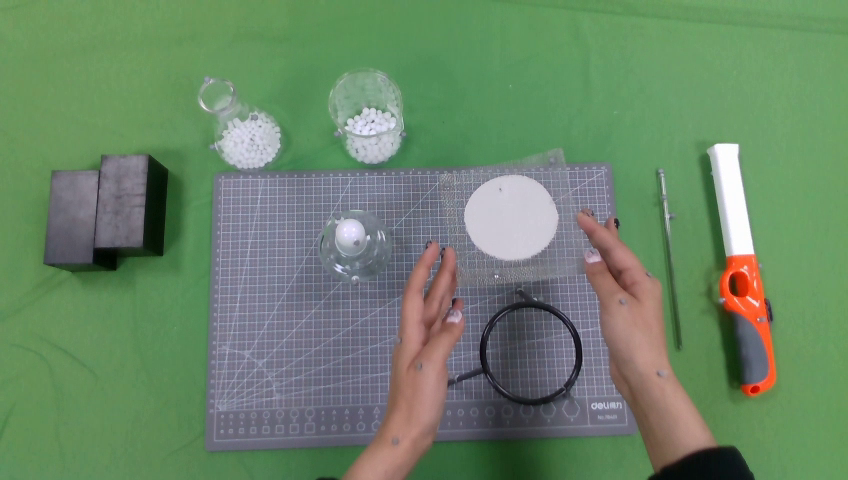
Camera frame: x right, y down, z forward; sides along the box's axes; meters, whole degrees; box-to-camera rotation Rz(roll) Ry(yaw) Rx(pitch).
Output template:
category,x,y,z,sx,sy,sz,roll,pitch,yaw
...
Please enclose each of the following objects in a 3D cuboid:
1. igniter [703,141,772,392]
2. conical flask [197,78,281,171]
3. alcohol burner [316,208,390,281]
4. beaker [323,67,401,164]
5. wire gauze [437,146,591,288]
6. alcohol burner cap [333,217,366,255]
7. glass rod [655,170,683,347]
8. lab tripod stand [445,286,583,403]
category,x,y,z,sx,sy,sz,roll,pitch,yaw
igniter,0.343,0.025,0.664,0.057,0.025,0.275,-1,79,-12
conical flask,-0.198,-0.125,0.635,0.075,0.122,0.075,0,79,-1
alcohol burner,-0.073,0.002,0.614,0.078,0.119,0.077,0,80,-2
beaker,-0.059,-0.127,0.650,0.084,0.100,0.074,34,81,5
wire gauze,0.080,-0.021,0.561,0.125,0.011,0.120,-10,72,5
alcohol burner cap,-0.072,-0.006,0.579,0.034,0.048,0.033,1,79,-6
glass rod,0.272,0.018,0.673,0.008,0.008,0.199,-2,78,-2
lab tripod stand,0.089,0.111,0.586,0.148,0.132,0.148,0,81,0
